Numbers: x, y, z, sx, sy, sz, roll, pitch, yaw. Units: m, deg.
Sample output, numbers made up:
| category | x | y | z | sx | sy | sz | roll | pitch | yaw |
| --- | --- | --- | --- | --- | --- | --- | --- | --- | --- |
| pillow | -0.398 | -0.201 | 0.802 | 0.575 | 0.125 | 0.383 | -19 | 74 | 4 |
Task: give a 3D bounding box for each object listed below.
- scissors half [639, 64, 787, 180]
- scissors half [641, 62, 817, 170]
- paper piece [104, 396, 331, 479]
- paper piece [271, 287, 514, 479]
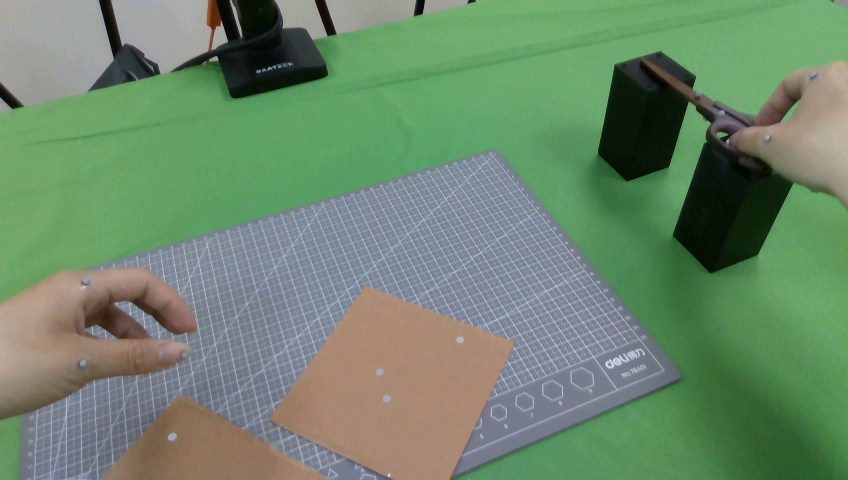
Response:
| category | x | y | z | sx | sy | sz | roll | pitch | yaw |
| --- | --- | --- | --- | --- | --- | --- | --- | --- | --- |
| scissors half | 0.221 | -0.102 | 0.487 | 0.040 | 0.013 | 0.173 | -11 | 45 | -12 |
| scissors half | 0.239 | -0.109 | 0.493 | 0.040 | 0.013 | 0.173 | -26 | 49 | -18 |
| paper piece | -0.152 | 0.177 | 0.381 | 0.135 | 0.009 | 0.137 | 19 | 50 | 25 |
| paper piece | -0.019 | 0.103 | 0.443 | 0.134 | 0.004 | 0.135 | 18 | 50 | 21 |
